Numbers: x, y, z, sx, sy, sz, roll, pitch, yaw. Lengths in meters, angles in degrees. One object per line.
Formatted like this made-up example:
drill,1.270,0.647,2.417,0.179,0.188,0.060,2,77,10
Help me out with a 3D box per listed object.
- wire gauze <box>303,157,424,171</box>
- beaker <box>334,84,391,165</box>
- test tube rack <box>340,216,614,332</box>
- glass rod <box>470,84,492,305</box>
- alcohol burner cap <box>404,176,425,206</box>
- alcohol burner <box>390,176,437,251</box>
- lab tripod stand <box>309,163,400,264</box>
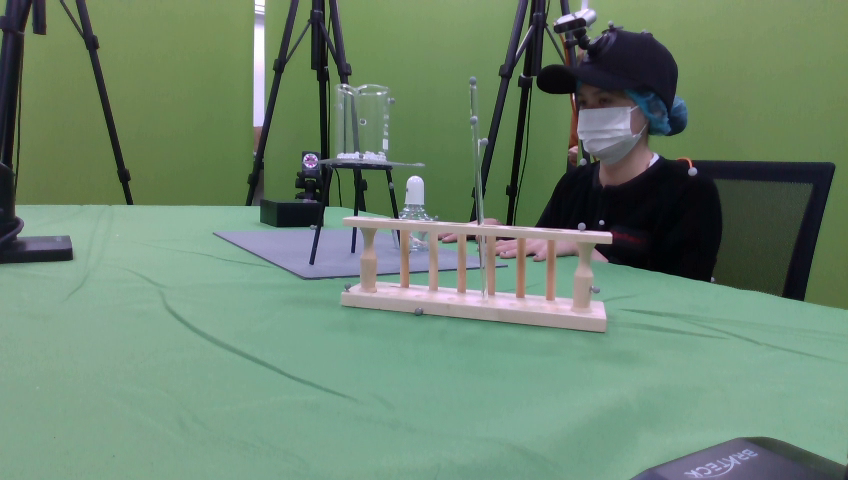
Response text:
wire gauze,-0.082,-0.101,0.799,0.126,0.011,0.121,1,7,-30
beaker,-0.082,-0.149,0.792,0.074,0.100,0.084,2,5,5
test tube rack,0.048,0.026,0.568,0.242,0.085,0.067,4,8,13
glass rod,0.051,-0.036,0.535,0.008,0.199,0.008,-5,10,1
alcohol burner cap,-0.015,-0.077,0.951,0.034,0.048,0.034,2,4,0
alcohol burner,-0.016,-0.042,0.955,0.078,0.119,0.078,4,5,0
lab tripod stand,-0.091,-0.037,0.813,0.148,0.131,0.148,1,6,0
